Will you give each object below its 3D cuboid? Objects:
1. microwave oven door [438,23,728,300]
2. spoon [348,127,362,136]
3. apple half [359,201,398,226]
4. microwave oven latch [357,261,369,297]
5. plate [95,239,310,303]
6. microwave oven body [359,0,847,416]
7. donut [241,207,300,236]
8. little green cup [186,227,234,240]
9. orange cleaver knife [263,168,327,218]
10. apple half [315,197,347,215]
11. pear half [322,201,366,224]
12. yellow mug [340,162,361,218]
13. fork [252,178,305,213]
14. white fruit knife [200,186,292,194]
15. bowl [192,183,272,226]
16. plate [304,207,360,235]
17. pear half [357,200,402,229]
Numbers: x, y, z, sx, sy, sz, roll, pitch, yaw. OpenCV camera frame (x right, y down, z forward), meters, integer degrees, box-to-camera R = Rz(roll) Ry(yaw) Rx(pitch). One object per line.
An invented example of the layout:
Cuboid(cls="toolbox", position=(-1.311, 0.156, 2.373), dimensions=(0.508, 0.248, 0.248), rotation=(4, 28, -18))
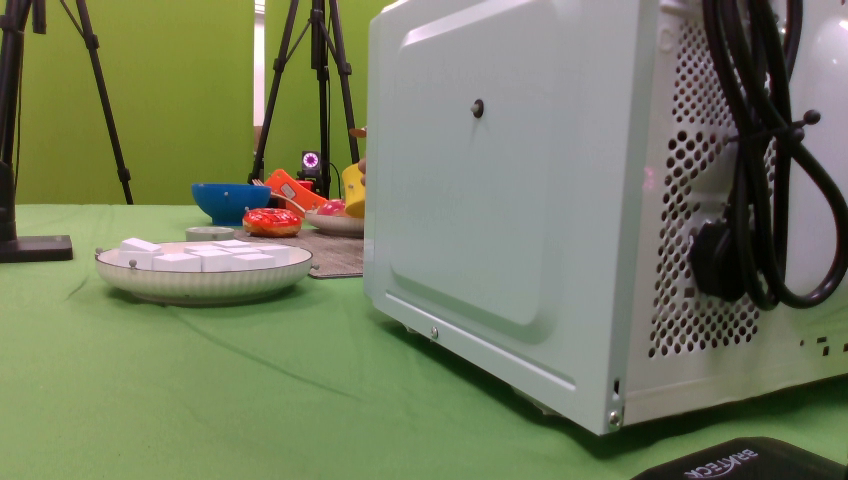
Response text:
Cuboid(cls="microwave oven door", position=(0.181, -0.073, 0.621), dimensions=(0.358, 0.243, 0.039), rotation=(-2, 8, -29))
Cuboid(cls="spoon", position=(-0.117, -0.234, 1.251), dimensions=(0.041, 0.021, 0.194), rotation=(1, 18, 9))
Cuboid(cls="apple half", position=(-0.088, -0.058, 1.190), dimensions=(0.081, 0.033, 0.081), rotation=(10, 29, -5))
Cuboid(cls="microwave oven latch", position=(-0.019, 0.033, 0.531), dimensions=(0.079, 0.029, 0.030), rotation=(-1, 7, -27))
Cuboid(cls="plate", position=(-0.224, 0.031, 0.629), dimensions=(0.208, 0.039, 0.207), rotation=(2, 8, 0))
Cuboid(cls="microwave oven body", position=(0.211, -0.047, 0.474), dimensions=(0.444, 0.260, 0.324), rotation=(-1, 7, -28))
Cuboid(cls="donut", position=(-0.263, -0.031, 1.039), dimensions=(0.099, 0.048, 0.099), rotation=(5, 9, 0))
Cuboid(cls="little green cup", position=(-0.285, 0.005, 0.805), dimensions=(0.061, 0.038, 0.061), rotation=(2, 8, 0))
Cuboid(cls="orange cleaver knife", position=(-0.262, -0.088, 1.353), dimensions=(0.211, 0.077, 0.012), rotation=(28, 13, -1))
Cuboid(cls="apple half", position=(-0.161, -0.052, 1.121), dimensions=(0.081, 0.053, 0.074), rotation=(4, 7, -14))
Cuboid(cls="pear half", position=(-0.157, -0.058, 1.197), dimensions=(0.088, 0.031, 0.070), rotation=(12, 31, -4))
Cuboid(cls="yellow mug", position=(-0.081, -0.086, 0.970), dimensions=(0.100, 0.064, 0.131), rotation=(-5, -15, -10))
Cuboid(cls="fork", position=(-0.295, -0.084, 1.292), dimensions=(0.206, 0.018, 0.028), rotation=(29, 11, 25))
Cuboid(cls="white fruit knife", position=(-0.399, -0.111, 1.368), dimensions=(0.208, 0.016, 0.027), rotation=(-4, -19, -30))
Cuboid(cls="bowl", position=(-0.381, -0.071, 1.202), dimensions=(0.151, 0.077, 0.151), rotation=(3, 7, 0))
Cuboid(cls="plate", position=(-0.123, -0.037, 1.149), dimensions=(0.209, 0.038, 0.209), rotation=(2, 7, 0))
Cuboid(cls="pear half", position=(-0.075, -0.047, 1.132), dimensions=(0.076, 0.056, 0.110), rotation=(12, 7, 31))
